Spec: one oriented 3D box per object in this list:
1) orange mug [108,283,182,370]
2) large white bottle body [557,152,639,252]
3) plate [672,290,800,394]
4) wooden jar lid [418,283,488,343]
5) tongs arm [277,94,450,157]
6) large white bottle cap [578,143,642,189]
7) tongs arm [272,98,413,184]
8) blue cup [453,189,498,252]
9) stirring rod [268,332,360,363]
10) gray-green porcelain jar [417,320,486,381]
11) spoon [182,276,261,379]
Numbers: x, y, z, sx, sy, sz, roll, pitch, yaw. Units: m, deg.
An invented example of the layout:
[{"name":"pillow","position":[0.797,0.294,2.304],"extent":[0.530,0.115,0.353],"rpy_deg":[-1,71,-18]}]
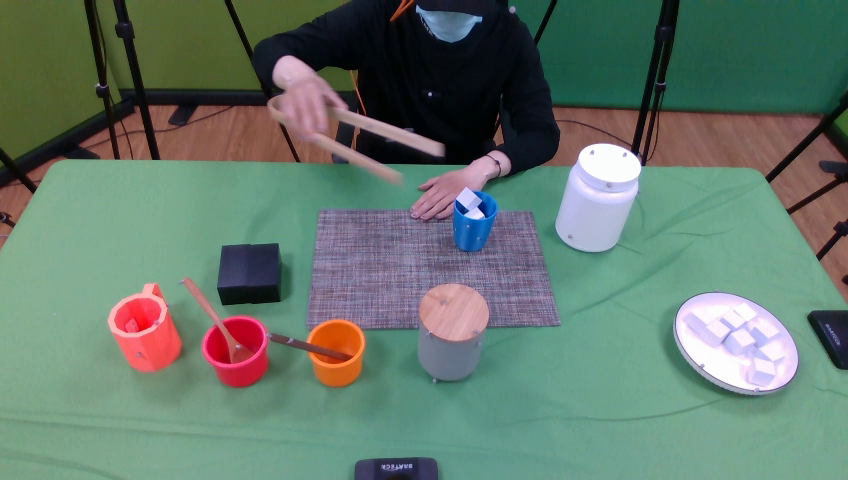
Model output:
[{"name":"orange mug","position":[-0.445,0.134,0.983],"extent":[0.083,0.101,0.125],"rpy_deg":[-1,50,-5]},{"name":"large white bottle body","position":[0.340,-0.081,1.185],"extent":[0.131,0.185,0.130],"rpy_deg":[2,46,-1]},{"name":"plate","position":[0.533,0.178,1.050],"extent":[0.208,0.039,0.206],"rpy_deg":[2,46,-2]},{"name":"wooden jar lid","position":[0.045,0.114,0.931],"extent":[0.108,0.021,0.107],"rpy_deg":[2,49,-2]},{"name":"tongs arm","position":[-0.121,-0.210,1.106],"extent":[0.383,0.027,0.050],"rpy_deg":[25,50,29]},{"name":"large white bottle cap","position":[0.344,-0.139,1.123],"extent":[0.115,0.018,0.114],"rpy_deg":[2,46,-2]},{"name":"tongs arm","position":[-0.157,-0.180,1.074],"extent":[0.385,0.028,0.028],"rpy_deg":[30,56,33]},{"name":"blue cup","position":[0.093,-0.032,1.173],"extent":[0.093,0.100,0.092],"rpy_deg":[4,46,-3]},{"name":"stirring rod","position":[-0.167,0.169,0.942],"extent":[0.177,0.006,0.014],"rpy_deg":[26,28,-41]},{"name":"gray-green porcelain jar","position":[0.042,0.158,0.975],"extent":[0.106,0.127,0.105],"rpy_deg":[2,46,-2]},{"name":"spoon","position":[-0.321,0.137,0.957],"extent":[0.041,0.021,0.194],"rpy_deg":[-36,102,-32]}]
